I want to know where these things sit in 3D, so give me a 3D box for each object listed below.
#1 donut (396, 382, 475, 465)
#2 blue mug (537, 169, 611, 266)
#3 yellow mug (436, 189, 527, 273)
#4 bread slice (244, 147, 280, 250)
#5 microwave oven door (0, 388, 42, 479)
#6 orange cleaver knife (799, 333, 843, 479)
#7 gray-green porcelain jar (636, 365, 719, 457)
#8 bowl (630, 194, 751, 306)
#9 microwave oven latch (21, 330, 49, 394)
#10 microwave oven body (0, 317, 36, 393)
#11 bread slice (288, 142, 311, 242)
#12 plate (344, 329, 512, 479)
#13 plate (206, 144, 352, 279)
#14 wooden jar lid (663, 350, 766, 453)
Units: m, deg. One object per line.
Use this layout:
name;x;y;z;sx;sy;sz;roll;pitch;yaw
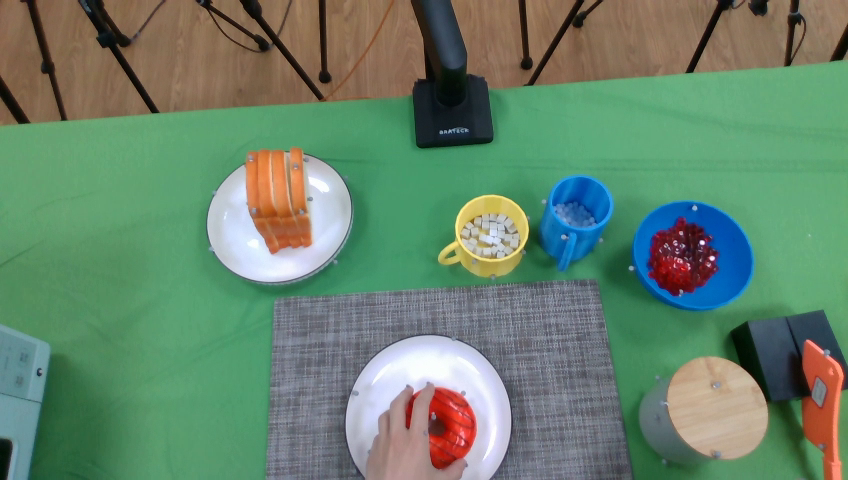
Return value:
donut;0.015;0.224;0.744;0.099;0.048;0.098;-1;68;2
blue mug;0.196;-0.021;0.817;0.082;0.106;0.116;14;69;8
yellow mug;0.076;-0.005;0.835;0.131;0.064;0.099;-25;69;-7
bread slice;-0.219;-0.064;0.824;0.018;0.135;0.106;-7;64;-2
microwave oven door;-0.503;0.322;0.607;0.039;0.245;0.353;-4;68;1
orange cleaver knife;0.473;0.219;0.723;0.012;0.077;0.212;-8;98;0
gray-green porcelain jar;0.314;0.199;0.713;0.106;0.127;0.105;0;68;1
bowl;0.343;0.023;0.808;0.151;0.077;0.150;-1;68;2
microwave oven latch;-0.510;0.158;0.783;0.030;0.030;0.078;-1;69;1
microwave oven body;-0.651;0.294;0.629;0.326;0.262;0.438;-4;68;0
bread slice;-0.170;-0.068;0.825;0.019;0.132;0.104;-5;69;-9
plate;0.006;0.217;0.759;0.209;0.038;0.207;-1;68;2
plate;-0.206;-0.039;0.874;0.207;0.039;0.206;0;68;2
wooden jar lid;0.311;0.174;0.655;0.108;0.021;0.107;0;69;0
